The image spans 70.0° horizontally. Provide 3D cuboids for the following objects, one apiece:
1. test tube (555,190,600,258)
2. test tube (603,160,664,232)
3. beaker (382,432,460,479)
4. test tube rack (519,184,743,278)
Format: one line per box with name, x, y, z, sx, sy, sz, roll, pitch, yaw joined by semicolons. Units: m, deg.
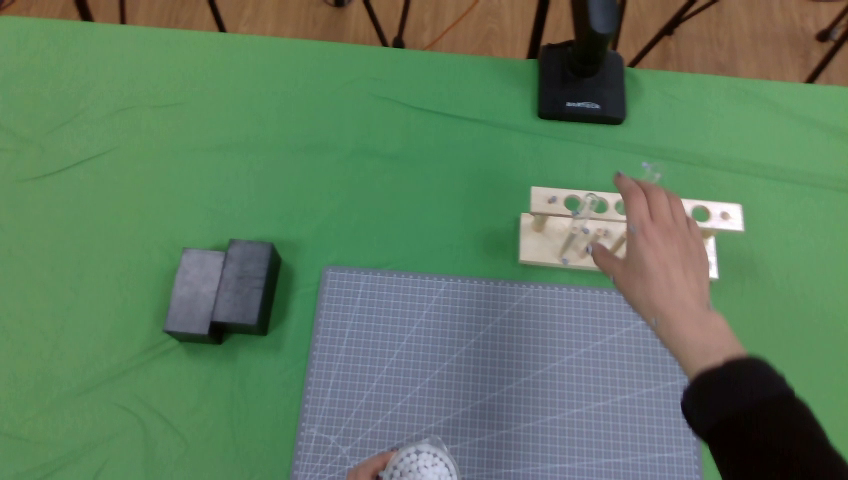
test tube;0.172;-0.015;0.683;0.017;0.151;0.017;1;65;-1
test tube;0.235;-0.045;0.692;0.017;0.151;0.017;2;65;-4
beaker;-0.002;0.240;0.615;0.074;0.101;0.083;18;68;5
test tube rack;0.243;-0.009;0.731;0.242;0.086;0.066;5;68;1
